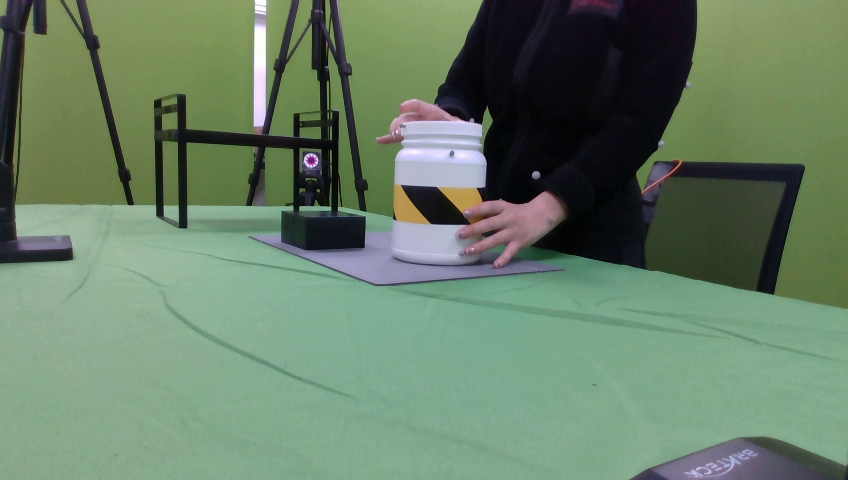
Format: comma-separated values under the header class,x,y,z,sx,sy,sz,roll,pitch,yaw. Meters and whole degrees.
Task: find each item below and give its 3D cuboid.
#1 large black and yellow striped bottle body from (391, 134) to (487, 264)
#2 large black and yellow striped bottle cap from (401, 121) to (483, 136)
class,x,y,z,sx,sy,sz,roll,pitch,yaw
large black and yellow striped bottle body,0.022,-0.065,0.853,0.131,0.184,0.130,2,7,0
large black and yellow striped bottle cap,0.025,-0.154,0.841,0.115,0.019,0.115,-1,8,0
